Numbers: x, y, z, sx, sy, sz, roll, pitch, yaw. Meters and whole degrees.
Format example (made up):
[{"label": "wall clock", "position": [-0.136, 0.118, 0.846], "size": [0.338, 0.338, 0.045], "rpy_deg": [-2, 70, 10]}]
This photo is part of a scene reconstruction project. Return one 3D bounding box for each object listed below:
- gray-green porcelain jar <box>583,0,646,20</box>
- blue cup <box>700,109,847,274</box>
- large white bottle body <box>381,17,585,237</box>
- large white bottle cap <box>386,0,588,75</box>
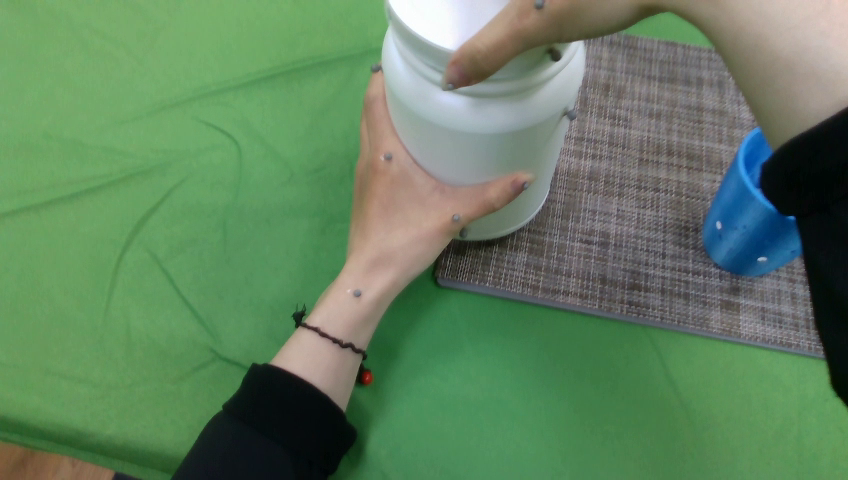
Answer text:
[{"label": "gray-green porcelain jar", "position": [0.177, -0.283, 0.567], "size": [0.106, 0.127, 0.105], "rpy_deg": [0, 62, 0]}, {"label": "blue cup", "position": [0.249, -0.023, 0.438], "size": [0.092, 0.101, 0.092], "rpy_deg": [0, 60, 1]}, {"label": "large white bottle body", "position": [0.038, -0.099, 0.427], "size": [0.130, 0.186, 0.129], "rpy_deg": [0, 61, 0]}, {"label": "large white bottle cap", "position": [0.035, -0.143, 0.341], "size": [0.115, 0.018, 0.114], "rpy_deg": [0, 65, 0]}]
